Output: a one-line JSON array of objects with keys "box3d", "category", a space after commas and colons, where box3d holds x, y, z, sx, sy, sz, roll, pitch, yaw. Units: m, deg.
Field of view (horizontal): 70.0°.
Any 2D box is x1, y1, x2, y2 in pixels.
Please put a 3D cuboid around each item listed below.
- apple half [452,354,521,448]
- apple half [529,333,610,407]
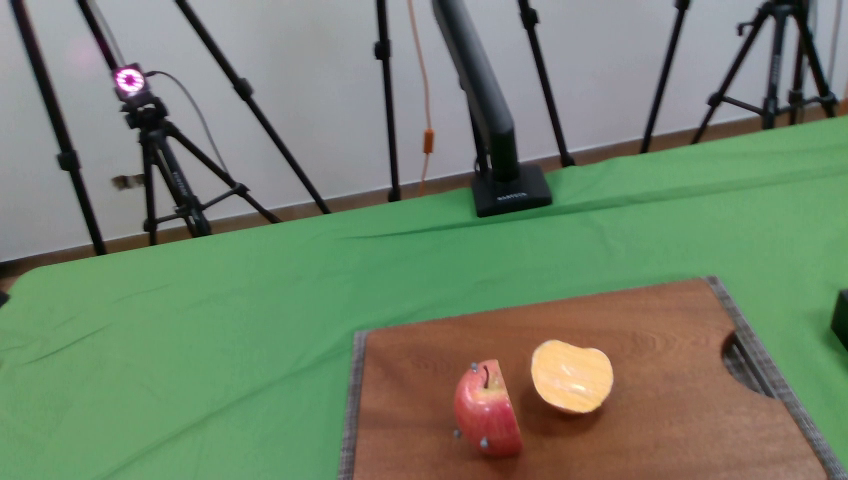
[{"box3d": [0.054, 0.152, 0.556, 0.053, 0.075, 0.080, -18, 39, 2], "category": "apple half"}, {"box3d": [0.138, 0.132, 0.591, 0.081, 0.033, 0.080, -3, 48, 3], "category": "apple half"}]
